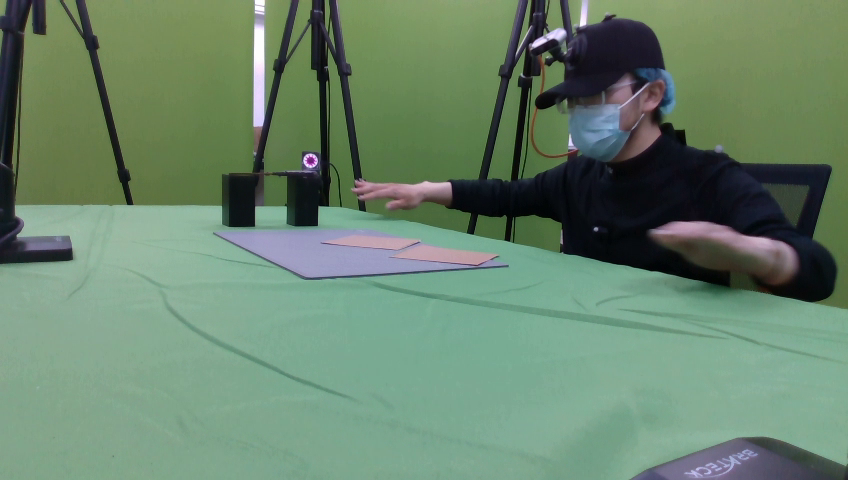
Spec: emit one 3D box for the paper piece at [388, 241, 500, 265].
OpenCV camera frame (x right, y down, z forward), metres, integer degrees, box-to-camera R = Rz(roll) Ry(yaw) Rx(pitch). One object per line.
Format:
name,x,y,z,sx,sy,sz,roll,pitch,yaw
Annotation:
paper piece,0.034,0.020,0.906,0.138,0.008,0.136,6,11,20

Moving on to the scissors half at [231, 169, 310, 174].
scissors half,-0.309,-0.137,1.226,0.176,0.013,0.040,-7,17,-41

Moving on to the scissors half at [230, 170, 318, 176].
scissors half,-0.297,-0.133,1.209,0.176,0.013,0.040,-3,10,-24

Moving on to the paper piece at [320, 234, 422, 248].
paper piece,-0.084,-0.001,1.018,0.135,0.004,0.136,4,8,17
